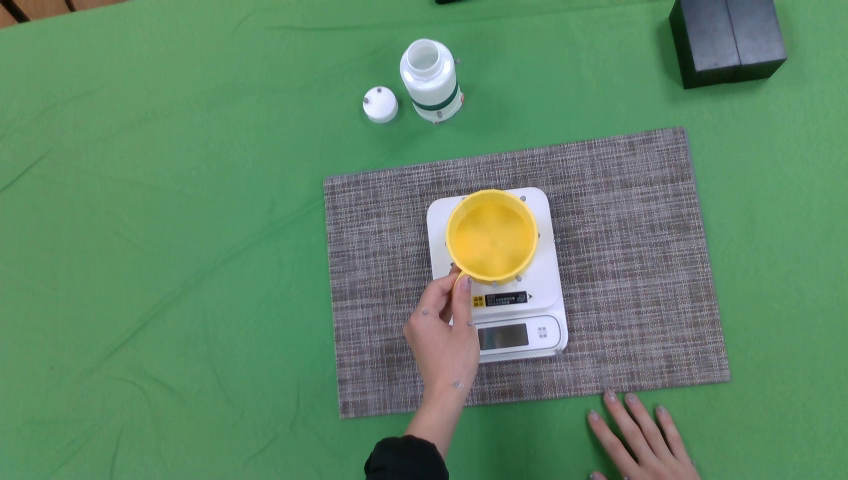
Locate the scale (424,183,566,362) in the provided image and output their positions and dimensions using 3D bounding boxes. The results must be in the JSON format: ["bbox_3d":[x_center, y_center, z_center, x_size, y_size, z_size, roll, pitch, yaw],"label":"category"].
[{"bbox_3d":[0.082,0.037,0.714,0.148,0.032,0.200,-8,80,7],"label":"scale"}]

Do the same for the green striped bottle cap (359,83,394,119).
[{"bbox_3d":[-0.061,-0.180,0.783,0.044,0.020,0.044,0,86,6],"label":"green striped bottle cap"}]

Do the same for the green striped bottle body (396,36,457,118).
[{"bbox_3d":[0.003,-0.196,0.722,0.063,0.120,0.063,-1,79,8],"label":"green striped bottle body"}]

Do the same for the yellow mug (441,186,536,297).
[{"bbox_3d":[0.064,0.008,0.672,0.099,0.064,0.131,32,88,10],"label":"yellow mug"}]
